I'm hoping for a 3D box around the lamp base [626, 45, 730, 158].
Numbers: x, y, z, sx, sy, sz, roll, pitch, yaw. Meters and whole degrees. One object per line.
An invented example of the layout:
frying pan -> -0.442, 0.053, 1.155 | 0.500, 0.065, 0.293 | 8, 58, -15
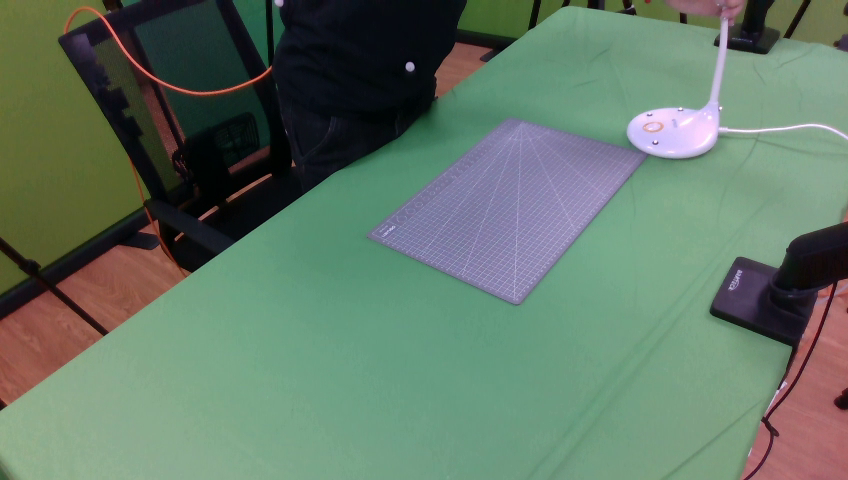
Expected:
lamp base -> 0.468, -0.262, 1.086 | 0.179, 0.181, 0.159 | -4, 41, 0
